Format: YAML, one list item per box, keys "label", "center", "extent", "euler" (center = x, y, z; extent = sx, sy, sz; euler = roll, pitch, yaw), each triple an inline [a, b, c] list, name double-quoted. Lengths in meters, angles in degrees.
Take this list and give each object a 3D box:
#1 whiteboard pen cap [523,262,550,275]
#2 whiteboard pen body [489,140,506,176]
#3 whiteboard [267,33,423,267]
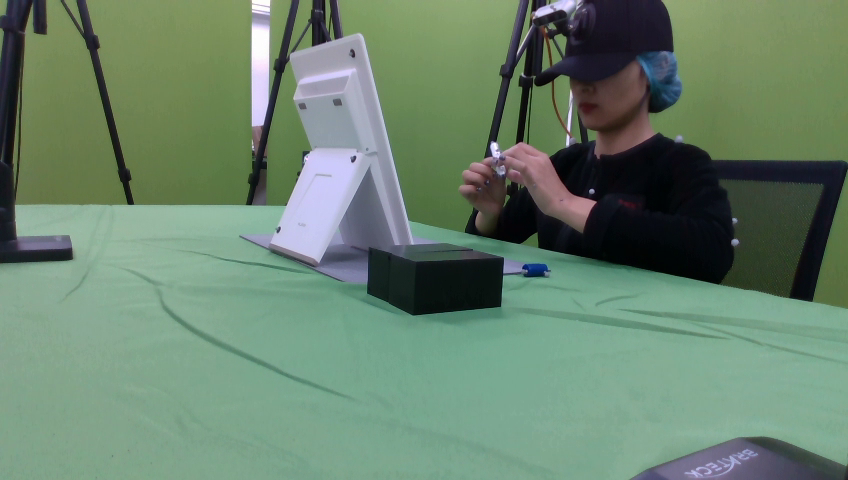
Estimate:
- label: "whiteboard pen cap"
  center: [0.145, 0.037, 0.776]
  extent: [0.033, 0.018, 0.018]
  euler: [1, 7, -30]
- label: "whiteboard pen body"
  center: [0.131, -0.145, 1.068]
  extent: [0.017, 0.017, 0.140]
  euler: [2, 32, -4]
- label: "whiteboard"
  center: [-0.153, -0.098, 0.819]
  extent: [0.144, 0.305, 0.216]
  euler: [-25, 21, -29]
